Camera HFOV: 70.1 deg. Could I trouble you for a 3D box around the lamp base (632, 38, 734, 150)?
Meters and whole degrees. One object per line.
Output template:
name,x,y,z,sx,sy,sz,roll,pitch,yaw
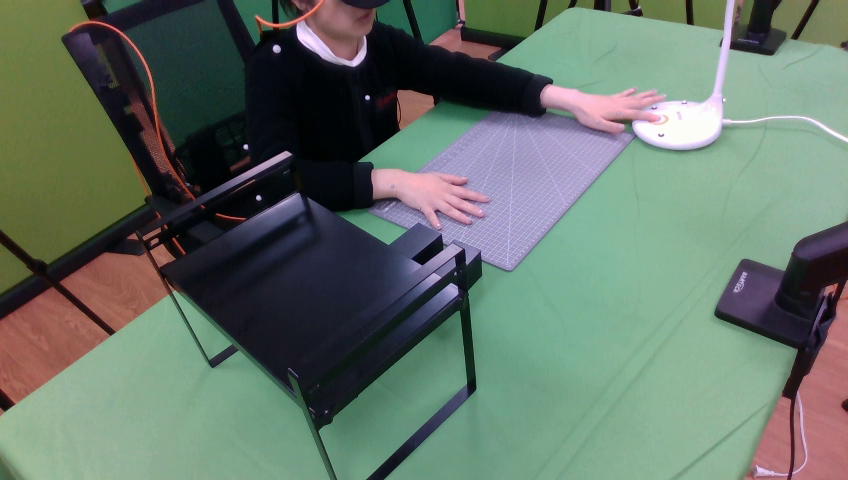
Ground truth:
lamp base,0.486,-0.280,1.107,0.179,0.181,0.159,-5,41,-1
